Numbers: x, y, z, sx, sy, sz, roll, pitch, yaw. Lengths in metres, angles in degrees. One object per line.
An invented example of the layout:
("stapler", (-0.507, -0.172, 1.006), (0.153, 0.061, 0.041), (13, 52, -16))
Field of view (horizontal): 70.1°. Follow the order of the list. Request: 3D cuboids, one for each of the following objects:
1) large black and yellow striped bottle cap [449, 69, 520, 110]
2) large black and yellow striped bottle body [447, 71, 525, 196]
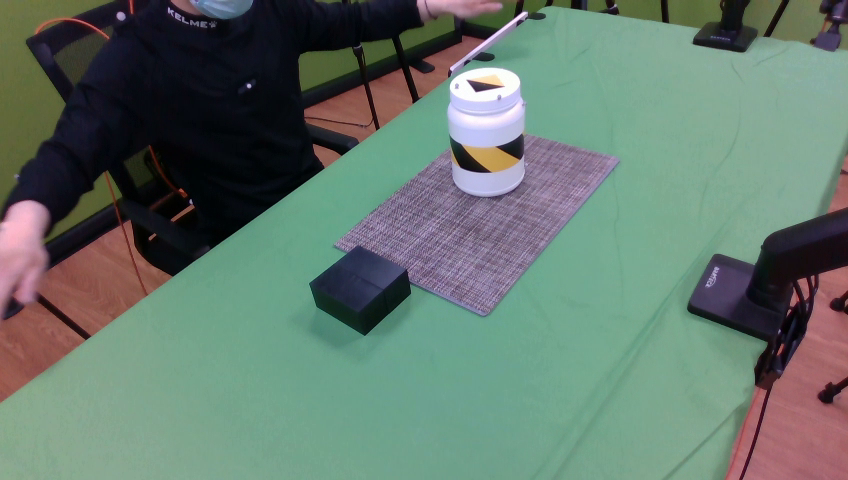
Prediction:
("large black and yellow striped bottle cap", (0.098, -0.246, 0.980), (0.115, 0.019, 0.114), (-3, 40, 3))
("large black and yellow striped bottle body", (0.108, -0.183, 1.034), (0.131, 0.185, 0.130), (-4, 41, 4))
